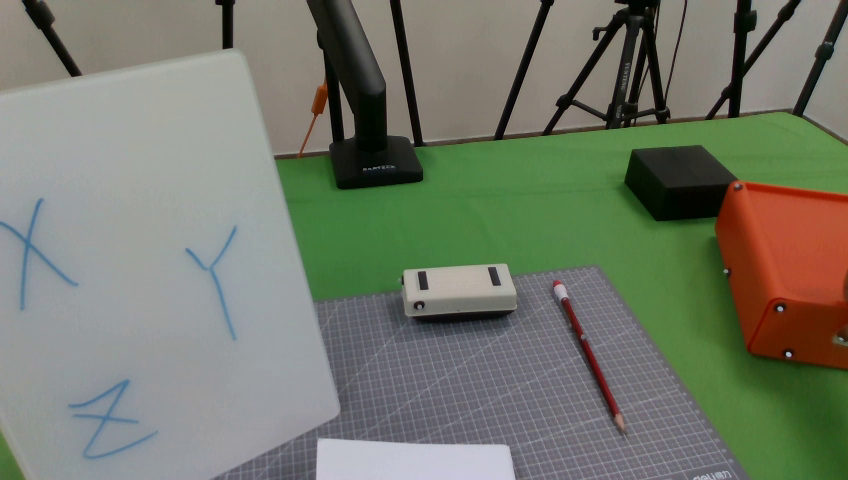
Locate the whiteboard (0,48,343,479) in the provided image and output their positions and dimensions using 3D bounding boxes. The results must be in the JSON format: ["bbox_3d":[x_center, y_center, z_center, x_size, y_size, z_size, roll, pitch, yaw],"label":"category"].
[{"bbox_3d":[-0.218,0.030,0.469,0.218,0.307,0.142,-21,23,-26],"label":"whiteboard"}]

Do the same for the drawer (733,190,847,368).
[{"bbox_3d":[0.428,0.037,0.625,0.194,0.074,0.210,8,36,10],"label":"drawer"}]

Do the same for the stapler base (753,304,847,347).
[{"bbox_3d":[0.397,0.081,0.594,0.130,0.024,0.041,10,36,14],"label":"stapler base"}]

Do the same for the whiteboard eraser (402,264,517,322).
[{"bbox_3d":[0.035,0.054,0.615,0.113,0.042,0.055,-3,38,-6],"label":"whiteboard eraser"}]

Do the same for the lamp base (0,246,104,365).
[{"bbox_3d":[-0.415,0.000,0.558,0.178,0.182,0.160,17,39,24],"label":"lamp base"}]

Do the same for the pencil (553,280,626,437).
[{"bbox_3d":[0.156,0.105,0.580,0.012,0.012,0.192,-4,39,-6],"label":"pencil"}]

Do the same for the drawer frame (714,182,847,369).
[{"bbox_3d":[0.427,0.035,0.626,0.201,0.083,0.212,7,36,9],"label":"drawer frame"}]

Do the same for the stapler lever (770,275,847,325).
[{"bbox_3d":[0.398,0.061,0.581,0.117,0.040,0.026,8,36,15],"label":"stapler lever"}]
